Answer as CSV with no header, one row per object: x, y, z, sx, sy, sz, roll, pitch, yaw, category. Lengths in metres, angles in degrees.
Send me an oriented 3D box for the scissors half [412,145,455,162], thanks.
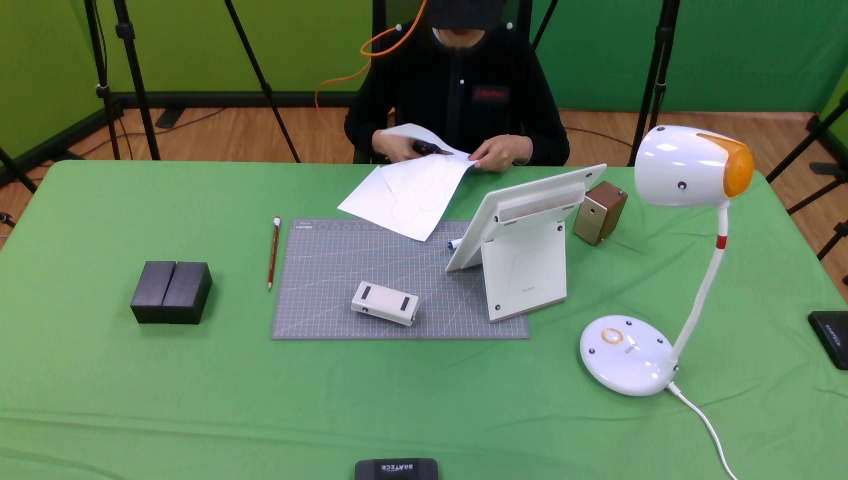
0.021,-0.195,1.384,0.013,0.040,0.174,-15,16,-29,scissors half

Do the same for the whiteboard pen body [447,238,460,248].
0.112,-0.006,1.204,0.141,0.017,0.017,-14,49,-18,whiteboard pen body

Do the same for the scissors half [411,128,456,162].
0.020,-0.215,1.375,0.013,0.040,0.174,-20,42,-27,scissors half

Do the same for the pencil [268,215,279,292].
-0.290,0.022,1.164,0.012,0.012,0.192,-2,48,-6,pencil

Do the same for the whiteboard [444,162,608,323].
0.186,0.025,1.029,0.217,0.306,0.143,-14,68,-18,whiteboard

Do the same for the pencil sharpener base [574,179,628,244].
0.355,-0.057,1.217,0.076,0.107,0.061,-33,56,-31,pencil sharpener base

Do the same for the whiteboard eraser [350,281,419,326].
-0.069,0.113,1.065,0.112,0.042,0.055,14,46,9,whiteboard eraser

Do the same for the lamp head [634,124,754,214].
0.351,-0.089,0.775,0.112,0.113,0.122,-30,30,-28,lamp head

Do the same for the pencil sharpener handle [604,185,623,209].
0.390,-0.091,1.235,0.030,0.068,0.036,-33,69,-31,pencil sharpener handle

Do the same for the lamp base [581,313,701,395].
0.361,0.144,0.972,0.178,0.181,0.160,34,53,23,lamp base

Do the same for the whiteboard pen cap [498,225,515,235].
0.166,-0.019,1.222,0.033,0.018,0.018,-14,49,-19,whiteboard pen cap
